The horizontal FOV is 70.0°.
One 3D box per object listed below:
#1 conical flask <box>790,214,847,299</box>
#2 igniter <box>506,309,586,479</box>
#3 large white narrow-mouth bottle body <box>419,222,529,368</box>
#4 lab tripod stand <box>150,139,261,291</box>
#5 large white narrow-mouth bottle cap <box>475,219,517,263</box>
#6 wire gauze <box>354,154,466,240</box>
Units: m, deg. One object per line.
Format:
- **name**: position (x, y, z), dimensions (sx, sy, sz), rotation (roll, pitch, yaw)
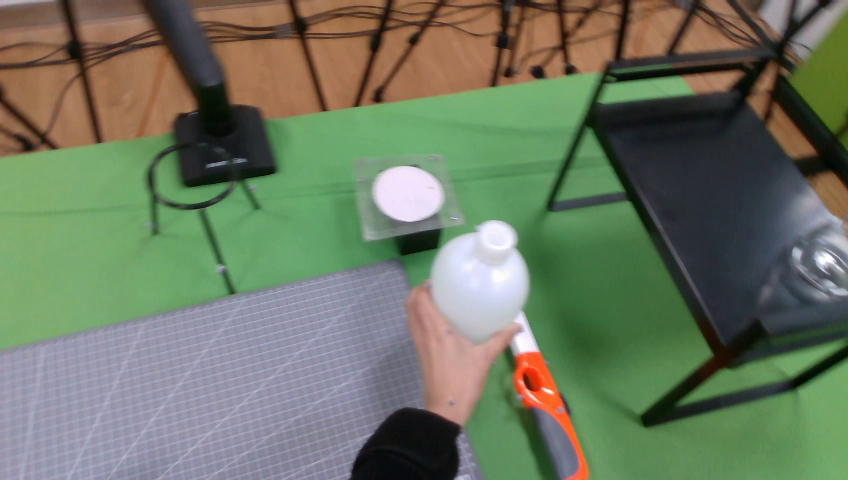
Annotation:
- **conical flask**: position (0.397, -0.005, 0.541), dimensions (0.075, 0.123, 0.074), rotation (4, 56, -6)
- **igniter**: position (0.118, 0.139, 0.680), dimensions (0.057, 0.025, 0.273), rotation (3, 53, -30)
- **large white narrow-mouth bottle body**: position (0.054, 0.051, 0.626), dimensions (0.102, 0.196, 0.101), rotation (5, 54, -6)
- **lab tripod stand**: position (-0.240, -0.033, 0.678), dimensions (0.149, 0.132, 0.147), rotation (5, 57, -7)
- **large white narrow-mouth bottle cap**: position (0.066, 0.001, 0.558), dimensions (0.038, 0.024, 0.037), rotation (5, 54, -6)
- **wire gauze**: position (-0.019, -0.058, 0.743), dimensions (0.122, 0.011, 0.124), rotation (-6, 57, -12)
